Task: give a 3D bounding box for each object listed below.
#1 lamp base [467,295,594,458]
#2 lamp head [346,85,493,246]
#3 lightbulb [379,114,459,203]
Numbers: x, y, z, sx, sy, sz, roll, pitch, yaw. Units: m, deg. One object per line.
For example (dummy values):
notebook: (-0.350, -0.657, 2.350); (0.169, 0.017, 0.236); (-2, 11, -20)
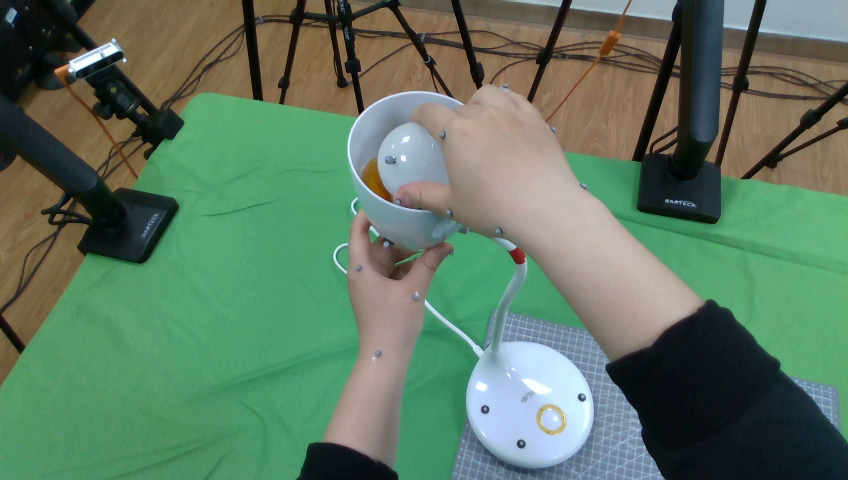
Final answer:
lamp base: (0.120, 0.147, 0.711); (0.177, 0.182, 0.160); (35, 65, 26)
lamp head: (-0.002, -0.046, 0.499); (0.112, 0.124, 0.111); (-1, 61, 1)
lightbulb: (-0.004, -0.055, 0.475); (0.059, 0.108, 0.059); (1, 70, -1)
